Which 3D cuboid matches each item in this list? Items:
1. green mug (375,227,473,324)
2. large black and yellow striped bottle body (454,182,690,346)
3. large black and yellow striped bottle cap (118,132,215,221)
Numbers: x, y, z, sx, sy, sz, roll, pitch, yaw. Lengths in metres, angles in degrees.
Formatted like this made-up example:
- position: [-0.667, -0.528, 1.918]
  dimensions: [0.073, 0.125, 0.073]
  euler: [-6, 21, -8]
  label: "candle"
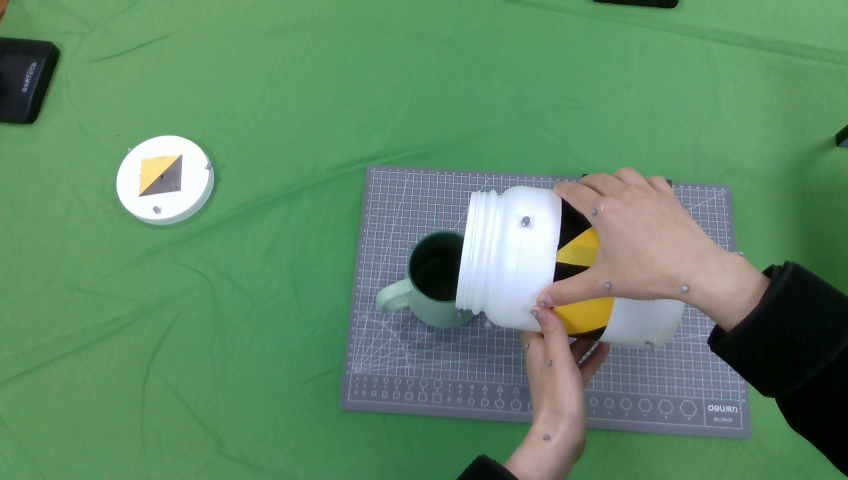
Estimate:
- position: [0.007, 0.046, 0.658]
  dimensions: [0.125, 0.105, 0.092]
  euler: [-21, 73, -6]
  label: "green mug"
- position: [0.124, 0.018, 0.543]
  dimensions: [0.184, 0.131, 0.130]
  euler: [8, 72, 4]
  label: "large black and yellow striped bottle body"
- position: [-0.319, -0.080, 0.751]
  dimensions: [0.115, 0.019, 0.114]
  euler: [0, 71, 0]
  label: "large black and yellow striped bottle cap"
